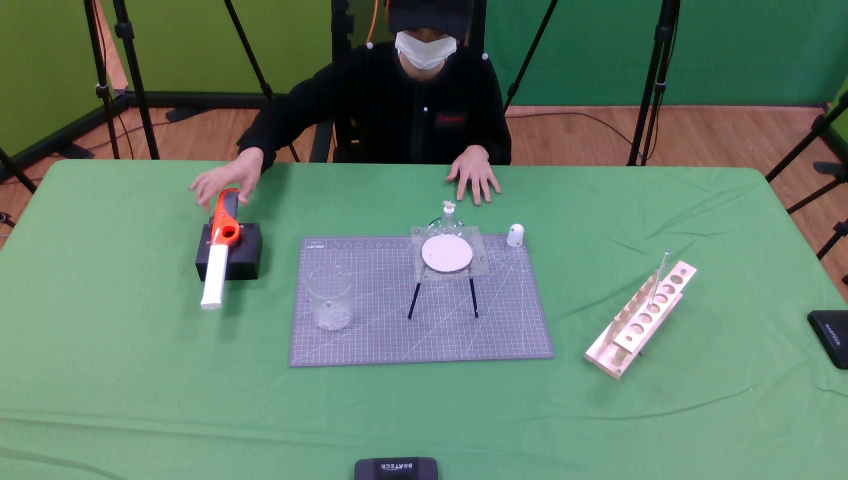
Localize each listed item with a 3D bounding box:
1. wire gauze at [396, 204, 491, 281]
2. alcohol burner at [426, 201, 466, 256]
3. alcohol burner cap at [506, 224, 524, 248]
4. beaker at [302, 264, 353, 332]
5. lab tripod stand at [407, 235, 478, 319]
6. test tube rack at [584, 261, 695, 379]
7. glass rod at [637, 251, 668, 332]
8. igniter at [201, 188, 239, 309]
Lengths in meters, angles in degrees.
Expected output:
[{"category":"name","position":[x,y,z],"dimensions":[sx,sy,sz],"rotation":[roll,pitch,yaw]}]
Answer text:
[{"category":"wire gauze","position":[0.032,0.004,0.999],"dimensions":[0.125,0.011,0.120],"rotation":[-22,54,-14]},{"category":"alcohol burner","position":[0.043,-0.026,1.161],"dimensions":[0.078,0.120,0.077],"rotation":[1,47,-1]},{"category":"alcohol burner cap","position":[0.183,-0.010,1.206],"dimensions":[0.034,0.048,0.033],"rotation":[1,46,-1]},{"category":"beaker","position":[-0.162,0.101,1.030],"dimensions":[0.084,0.101,0.073],"rotation":[4,46,0]},{"category":"lab tripod stand","position":[0.032,0.065,1.057],"dimensions":[0.148,0.132,0.147],"rotation":[1,45,-1]},{"category":"test tube rack","position":[0.380,0.127,1.062],"dimensions":[0.066,0.085,0.242],"rotation":[34,53,26]},{"category":"glass rod","position":[0.378,0.090,1.005],"dimensions":[0.008,0.201,0.008],"rotation":[-1,44,1]},{"category":"igniter","position":[-0.367,0.006,1.095],"dimensions":[0.057,0.025,0.274],"rotation":[-2,49,-7]}]
